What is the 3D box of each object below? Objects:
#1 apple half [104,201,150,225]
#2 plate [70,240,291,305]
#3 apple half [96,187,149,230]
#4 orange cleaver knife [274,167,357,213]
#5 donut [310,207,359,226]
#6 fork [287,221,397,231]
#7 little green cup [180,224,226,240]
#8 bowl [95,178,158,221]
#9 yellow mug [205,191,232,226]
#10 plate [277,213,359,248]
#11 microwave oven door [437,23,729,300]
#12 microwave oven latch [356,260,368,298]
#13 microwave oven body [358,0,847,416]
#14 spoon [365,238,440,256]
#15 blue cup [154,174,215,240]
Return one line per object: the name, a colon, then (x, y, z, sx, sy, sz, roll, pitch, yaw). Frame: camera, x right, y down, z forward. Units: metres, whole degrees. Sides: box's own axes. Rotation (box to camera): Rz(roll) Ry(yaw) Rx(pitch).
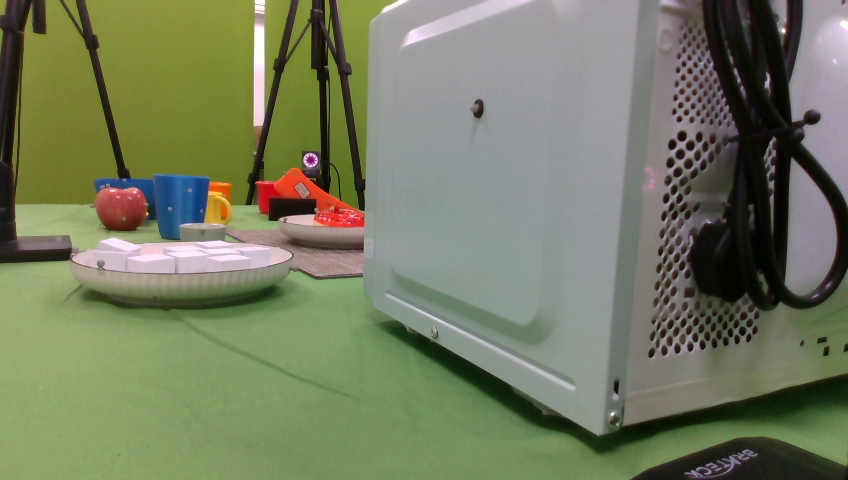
apple half: (-0.548, -0.044, 1.115, 0.081, 0.033, 0.081, 18, 6, -2)
plate: (-0.242, 0.031, 0.618, 0.208, 0.039, 0.207, 2, 8, 0)
apple half: (-0.516, -0.052, 1.036, 0.081, 0.074, 0.053, 3, 11, -26)
orange cleaver knife: (-0.238, -0.091, 1.381, 0.212, 0.077, 0.012, 31, 0, -19)
donut: (-0.137, -0.029, 0.995, 0.099, 0.048, 0.099, 4, 9, 0)
fork: (-0.148, -0.025, 1.120, 0.208, 0.018, 0.028, -3, 1, -22)
little green cup: (-0.309, -0.001, 0.846, 0.061, 0.038, 0.061, 2, 8, 0)
bowl: (-0.576, -0.081, 1.217, 0.151, 0.077, 0.151, 3, 8, 0)
yellow mug: (-0.415, -0.057, 1.131, 0.130, 0.064, 0.100, 6, 8, 16)
plate: (-0.135, -0.017, 0.992, 0.209, 0.038, 0.209, 2, 8, 0)
microwave oven door: (0.181, -0.072, 0.621, 0.358, 0.243, 0.039, -2, 8, -29)
microwave oven latch: (-0.020, 0.033, 0.530, 0.079, 0.029, 0.030, 0, 7, -26)
microwave oven body: (0.211, -0.047, 0.474, 0.444, 0.260, 0.324, -1, 7, -28)
spoon: (-0.023, 0.006, 0.907, 0.041, 0.021, 0.194, -16, -2, 30)
blue cup: (-0.391, -0.054, 0.978, 0.093, 0.100, 0.092, 4, 6, 0)
